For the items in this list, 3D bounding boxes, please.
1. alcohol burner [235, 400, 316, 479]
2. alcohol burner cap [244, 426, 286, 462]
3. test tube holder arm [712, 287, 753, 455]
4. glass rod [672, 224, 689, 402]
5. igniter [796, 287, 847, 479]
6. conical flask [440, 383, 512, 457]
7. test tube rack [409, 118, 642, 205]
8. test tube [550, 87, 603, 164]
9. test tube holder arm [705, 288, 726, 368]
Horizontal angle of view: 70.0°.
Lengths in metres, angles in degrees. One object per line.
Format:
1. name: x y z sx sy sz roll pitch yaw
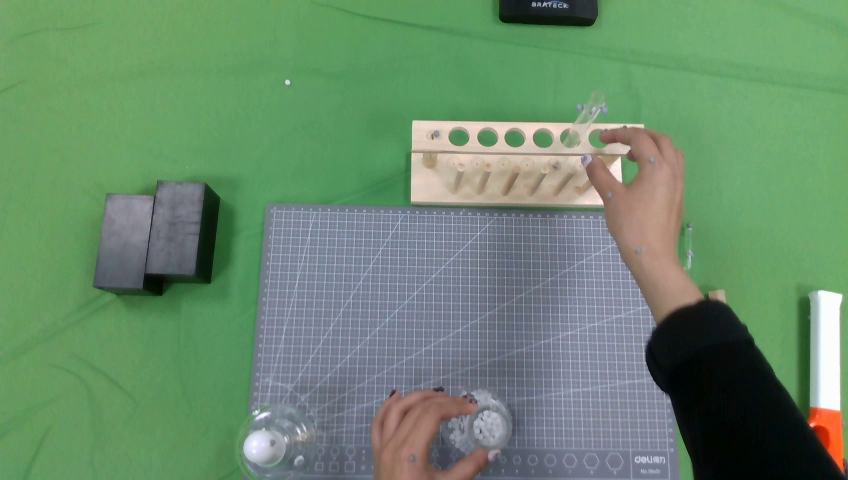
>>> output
1. alcohol burner: -0.144 0.191 0.574 0.078 0.119 0.077 0 75 0
2. alcohol burner cap: -0.144 0.181 0.540 0.034 0.048 0.033 1 69 -2
3. test tube holder arm: 0.332 0.139 0.654 0.013 0.015 0.177 -15 75 32
4. glass rod: 0.285 0.078 0.673 0.008 0.008 0.199 9 79 0
5. igniter: 0.423 0.187 0.643 0.057 0.025 0.275 11 77 -9
6. conical flask: 0.055 0.174 0.581 0.075 0.122 0.075 0 76 -1
7. test tube rack: 0.105 -0.084 0.665 0.242 0.085 0.066 1 77 -2
8. test tube: 0.154 -0.113 0.622 0.017 0.151 0.017 1 74 -2
9. test tube holder arm: 0.323 0.096 0.667 0.010 0.015 0.087 -12 76 32
